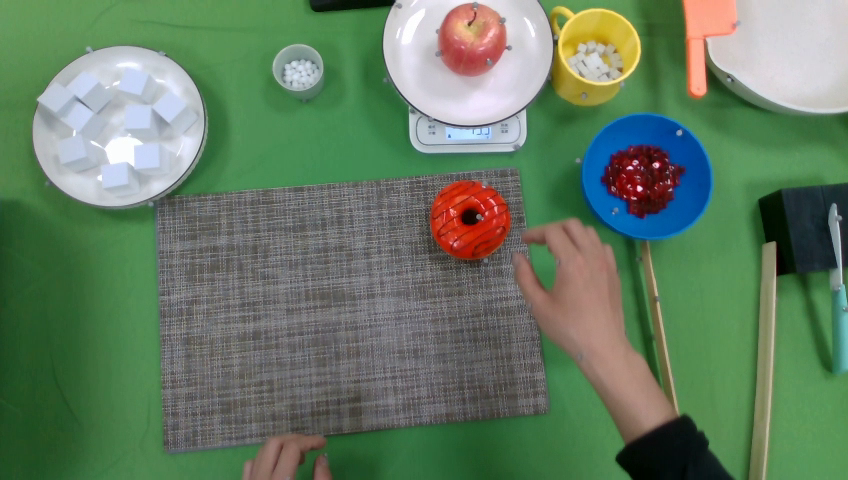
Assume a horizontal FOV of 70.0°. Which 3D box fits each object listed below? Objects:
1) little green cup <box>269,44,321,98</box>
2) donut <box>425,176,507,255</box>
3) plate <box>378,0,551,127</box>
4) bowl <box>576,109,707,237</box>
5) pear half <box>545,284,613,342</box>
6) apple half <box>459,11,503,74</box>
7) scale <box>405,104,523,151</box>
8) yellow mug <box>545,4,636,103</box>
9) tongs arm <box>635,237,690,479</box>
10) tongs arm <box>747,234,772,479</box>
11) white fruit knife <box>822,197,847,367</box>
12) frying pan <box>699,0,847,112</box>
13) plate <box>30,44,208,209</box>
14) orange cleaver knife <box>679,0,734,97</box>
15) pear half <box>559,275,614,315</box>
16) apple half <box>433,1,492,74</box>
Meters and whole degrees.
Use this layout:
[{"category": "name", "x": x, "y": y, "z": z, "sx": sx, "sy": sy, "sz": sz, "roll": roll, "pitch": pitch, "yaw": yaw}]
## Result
[{"category": "little green cup", "x": -0.159, "y": -0.210, "z": 0.761, "sx": 0.061, "sy": 0.039, "sz": 0.061, "roll": 0, "pitch": 80, "yaw": -1}, {"category": "donut", "x": 0.050, "y": -0.029, "z": 0.731, "sx": 0.099, "sy": 0.048, "sz": 0.098, "roll": 0, "pitch": 81, "yaw": 1}, {"category": "plate", "x": 0.049, "y": -0.234, "z": 0.741, "sx": 0.209, "sy": 0.038, "sz": 0.208, "roll": 0, "pitch": 80, "yaw": -2}, {"category": "bowl", "x": 0.250, "y": -0.072, "z": 0.730, "sx": 0.151, "sy": 0.077, "sz": 0.151, "roll": 0, "pitch": 81, "yaw": -1}, {"category": "pear half", "x": 0.175, "y": 0.087, "z": 0.686, "sx": 0.076, "sy": 0.110, "sz": 0.056, "roll": 26, "pitch": 81, "yaw": 7}, {"category": "apple half", "x": 0.073, "y": -0.223, "z": 0.713, "sx": 0.032, "sy": 0.081, "sz": 0.081, "roll": 33, "pitch": 81, "yaw": 7}, {"category": "scale", "x": 0.049, "y": -0.214, "z": 0.771, "sx": 0.149, "sy": 0.031, "sz": 0.200, "roll": -1, "pitch": 81, "yaw": -2}, {"category": "yellow mug", "x": 0.196, "y": -0.243, "z": 0.762, "sx": 0.100, "sy": 0.064, "sz": 0.130, "roll": -38, "pitch": 83, "yaw": -6}, {"category": "tongs arm", "x": 0.304, "y": 0.182, "z": 0.712, "sx": 0.051, "sy": 0.026, "sz": 0.383, "roll": -5, "pitch": 82, "yaw": -7}, {"category": "tongs arm", "x": 0.390, "y": 0.182, "z": 0.719, "sx": 0.028, "sy": 0.028, "sz": 0.386, "roll": 10, "pitch": 81, "yaw": -8}, {"category": "white fruit knife", "x": 0.482, "y": 0.053, "z": 0.716, "sx": 0.016, "sy": 0.027, "sz": 0.207, "roll": -8, "pitch": 95, "yaw": -3}, {"category": "frying pan", "x": 0.526, "y": -0.212, "z": 0.747, "sx": 0.307, "sy": 0.103, "sz": 0.485, "roll": -32, "pitch": 75, "yaw": -5}, {"category": "plate", "x": -0.367, "y": -0.136, "z": 0.743, "sx": 0.208, "sy": 0.039, "sz": 0.207, "roll": 0, "pitch": 81, "yaw": -2}, {"category": "orange cleaver knife", "x": 0.336, "y": -0.276, "z": 0.734, "sx": 0.077, "sy": 0.012, "sz": 0.210, "roll": -1, "pitch": 81, "yaw": 1}, {"category": "pear half", "x": 0.192, "y": 0.059, "z": 0.701, "sx": 0.070, "sy": 0.088, "sz": 0.031, "roll": 25, "pitch": 81, "yaw": 6}, {"category": "apple half", "x": 0.040, "y": -0.243, "z": 0.716, "sx": 0.053, "sy": 0.075, "sz": 0.080, "roll": 34, "pitch": 84, "yaw": 7}]
